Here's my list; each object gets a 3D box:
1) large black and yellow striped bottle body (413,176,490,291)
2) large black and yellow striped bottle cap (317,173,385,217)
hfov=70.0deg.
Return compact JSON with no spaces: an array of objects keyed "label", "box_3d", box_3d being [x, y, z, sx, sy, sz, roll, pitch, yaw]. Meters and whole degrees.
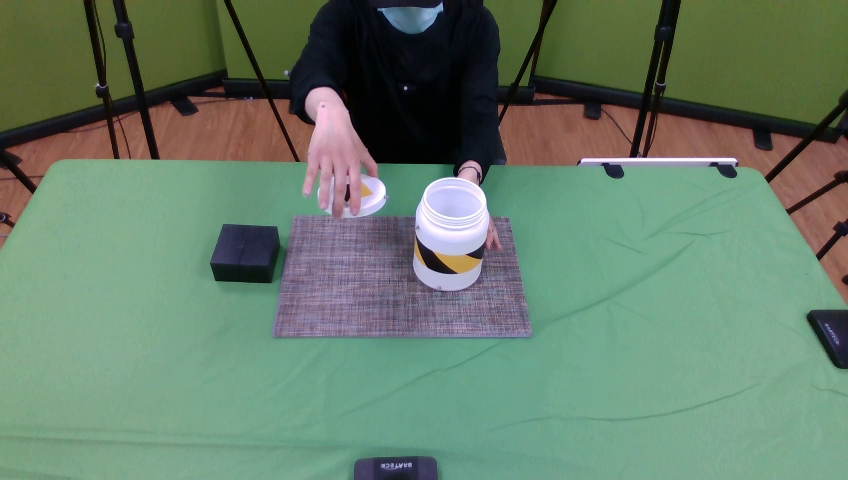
[{"label":"large black and yellow striped bottle body","box_3d":[0.048,-0.011,1.091,0.131,0.185,0.130,2,46,-2]},{"label":"large black and yellow striped bottle cap","box_3d":[-0.123,-0.078,1.022,0.115,0.019,0.114,2,38,-1]}]
